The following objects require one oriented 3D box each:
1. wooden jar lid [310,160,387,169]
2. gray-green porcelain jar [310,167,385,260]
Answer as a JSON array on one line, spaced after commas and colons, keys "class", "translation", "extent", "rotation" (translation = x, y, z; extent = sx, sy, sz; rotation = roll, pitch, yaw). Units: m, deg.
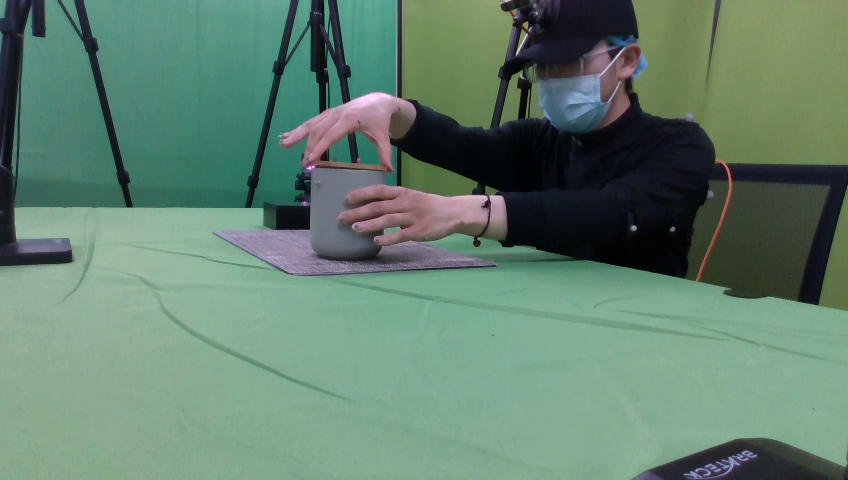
[{"class": "wooden jar lid", "translation": [-0.107, -0.100, 0.851], "extent": [0.108, 0.020, 0.108], "rotation": [4, 5, 0]}, {"class": "gray-green porcelain jar", "translation": [-0.109, -0.040, 0.859], "extent": [0.106, 0.126, 0.106], "rotation": [2, 7, 0]}]
